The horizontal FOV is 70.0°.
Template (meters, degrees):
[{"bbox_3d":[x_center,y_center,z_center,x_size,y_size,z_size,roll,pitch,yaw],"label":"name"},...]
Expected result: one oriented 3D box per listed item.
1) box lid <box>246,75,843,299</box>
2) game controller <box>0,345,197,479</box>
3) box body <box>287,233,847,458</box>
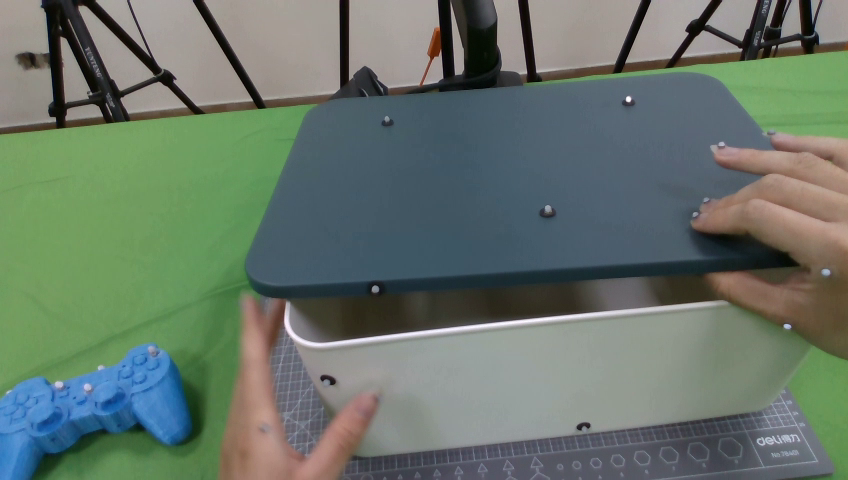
[{"bbox_3d":[0.069,-0.055,0.459,0.371,0.015,0.261,-3,37,5],"label":"box lid"},{"bbox_3d":[-0.273,0.141,0.499,0.155,0.052,0.096,-16,40,-12],"label":"game controller"},{"bbox_3d":[0.093,0.021,0.501,0.364,0.162,0.251,-6,42,-1],"label":"box body"}]
